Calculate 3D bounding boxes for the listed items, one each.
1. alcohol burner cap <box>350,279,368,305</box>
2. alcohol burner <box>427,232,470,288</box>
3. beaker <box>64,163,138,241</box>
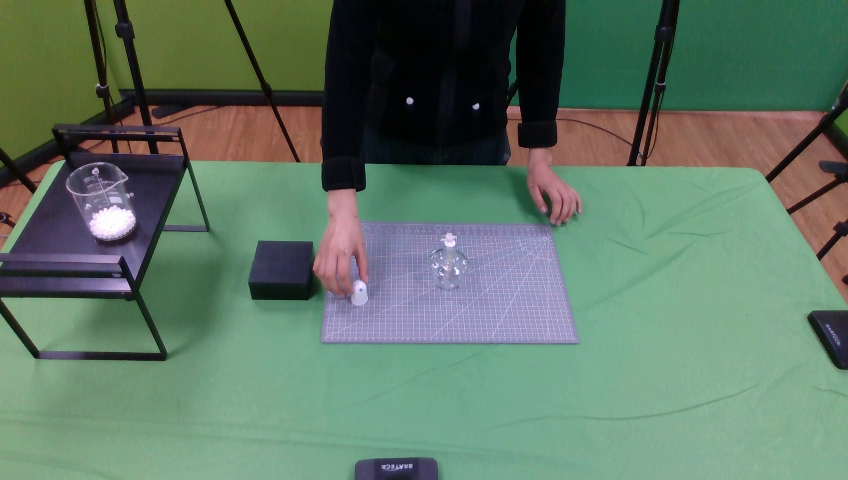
[{"bbox_3d":[-0.117,0.090,1.082,0.034,0.048,0.033,2,47,-2],"label":"alcohol burner cap"},{"bbox_3d":[0.045,0.032,1.099,0.078,0.120,0.077,0,46,0],"label":"alcohol burner"},{"bbox_3d":[-0.477,-0.055,0.910,0.084,0.101,0.073,-9,48,-13],"label":"beaker"}]
